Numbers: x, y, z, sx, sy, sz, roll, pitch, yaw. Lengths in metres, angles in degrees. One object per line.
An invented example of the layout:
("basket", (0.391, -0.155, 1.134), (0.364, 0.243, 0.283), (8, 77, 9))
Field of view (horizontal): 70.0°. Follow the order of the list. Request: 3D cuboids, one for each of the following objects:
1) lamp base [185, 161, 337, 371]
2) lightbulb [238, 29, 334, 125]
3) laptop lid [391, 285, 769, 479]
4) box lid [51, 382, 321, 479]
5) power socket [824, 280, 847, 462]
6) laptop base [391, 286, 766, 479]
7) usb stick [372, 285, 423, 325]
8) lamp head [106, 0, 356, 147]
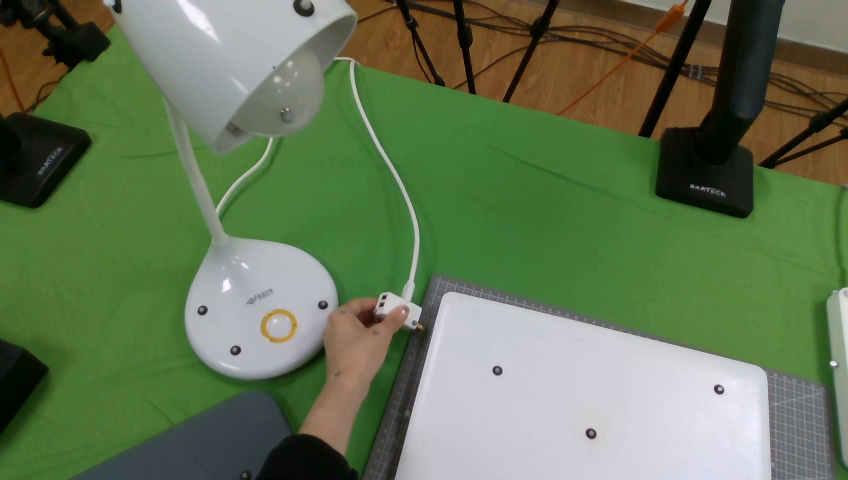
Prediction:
("lamp base", (-0.181, 0.017, 0.596), (0.178, 0.182, 0.160), (40, 64, 22))
("lightbulb", (-0.088, -0.116, 0.328), (0.059, 0.059, 0.108), (-22, 101, -16))
("laptop lid", (0.162, 0.184, 0.597), (0.356, 0.013, 0.240), (14, 61, 5))
("box lid", (-0.180, 0.323, 0.507), (0.263, 0.015, 0.368), (-26, 64, -18))
("power socket", (0.480, 0.142, 0.650), (0.072, 0.033, 0.225), (15, 58, 4))
("laptop base", (0.162, 0.188, 0.609), (0.354, 0.023, 0.234), (13, 62, 4))
("usb stick", (-0.024, 0.072, 0.649), (0.059, 0.021, 0.027), (33, 65, -26))
("lamp head", (-0.117, -0.128, 0.332), (0.123, 0.112, 0.112), (43, 62, -5))
